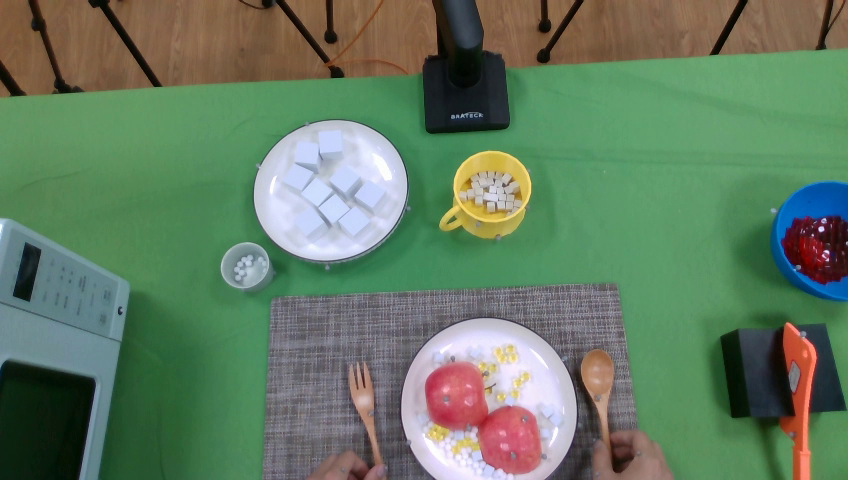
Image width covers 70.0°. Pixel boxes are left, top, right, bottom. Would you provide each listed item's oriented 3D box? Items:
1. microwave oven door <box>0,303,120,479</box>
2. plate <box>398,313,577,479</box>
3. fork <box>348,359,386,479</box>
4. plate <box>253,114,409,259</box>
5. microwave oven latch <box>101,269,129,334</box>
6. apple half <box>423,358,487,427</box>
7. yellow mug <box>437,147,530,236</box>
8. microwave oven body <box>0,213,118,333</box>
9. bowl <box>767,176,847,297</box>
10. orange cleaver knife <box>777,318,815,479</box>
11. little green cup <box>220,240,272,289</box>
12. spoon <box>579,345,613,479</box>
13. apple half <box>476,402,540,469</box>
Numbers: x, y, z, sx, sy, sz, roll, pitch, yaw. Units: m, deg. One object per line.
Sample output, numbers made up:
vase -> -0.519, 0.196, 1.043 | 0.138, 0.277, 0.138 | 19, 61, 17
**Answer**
microwave oven door -> -0.405, 0.254, 0.597 | 0.039, 0.245, 0.353 | 0, 72, 3
plate -> 0.074, 0.192, 0.722 | 0.209, 0.038, 0.208 | 0, 73, 2
fork -> -0.061, 0.244, 0.720 | 0.028, 0.018, 0.206 | -3, 69, -33
plate -> -0.123, -0.070, 0.818 | 0.207, 0.039, 0.206 | -1, 72, 2
microwave oven latch -> -0.394, 0.077, 0.761 | 0.030, 0.029, 0.078 | 2, 73, 2
apple half -> 0.035, 0.178, 0.712 | 0.074, 0.053, 0.080 | -5, 73, 3
yellow mug -> 0.073, -0.054, 0.791 | 0.131, 0.064, 0.099 | -33, 73, -8
microwave oven body -> -0.550, 0.213, 0.621 | 0.326, 0.261, 0.439 | 1, 73, 2
bowl -> 0.491, 0.005, 0.750 | 0.151, 0.077, 0.150 | -1, 72, 2
orange cleaver knife -> 0.420, 0.197, 0.688 | 0.012, 0.077, 0.211 | -2, 96, 6
little green cup -> -0.228, 0.034, 0.787 | 0.061, 0.039, 0.061 | -1, 73, 2
spoon -> 0.209, 0.222, 0.715 | 0.042, 0.022, 0.192 | 4, 70, -14
apple half -> 0.098, 0.227, 0.703 | 0.081, 0.033, 0.080 | -1, 70, 3
